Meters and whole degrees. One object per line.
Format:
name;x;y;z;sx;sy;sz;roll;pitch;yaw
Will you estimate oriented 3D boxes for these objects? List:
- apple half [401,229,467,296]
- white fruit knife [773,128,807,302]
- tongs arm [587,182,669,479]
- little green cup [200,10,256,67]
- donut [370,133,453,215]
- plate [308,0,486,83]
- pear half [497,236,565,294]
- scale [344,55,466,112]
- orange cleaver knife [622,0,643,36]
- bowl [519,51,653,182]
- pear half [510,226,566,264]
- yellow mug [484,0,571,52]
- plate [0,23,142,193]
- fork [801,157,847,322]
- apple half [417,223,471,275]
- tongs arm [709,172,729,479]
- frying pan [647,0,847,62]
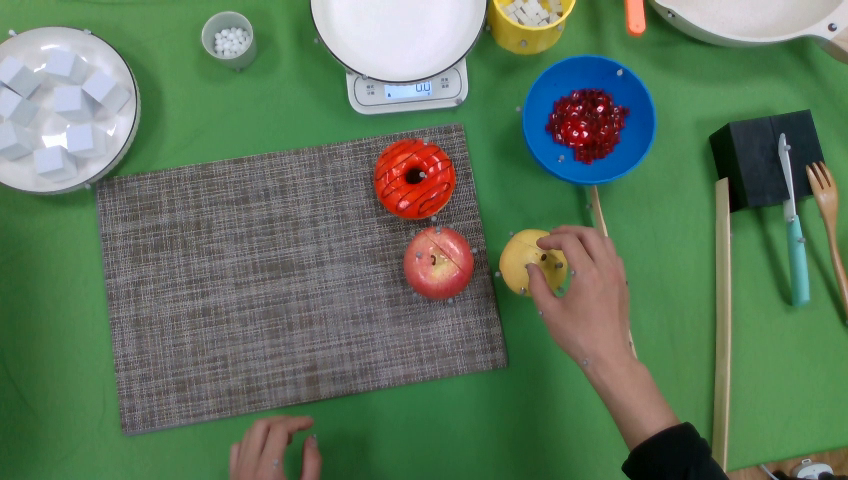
apple half;0.004;0.033;0.687;0.081;0.075;0.053;44;87;2
white fruit knife;0.422;-0.026;0.702;0.016;0.027;0.208;-12;97;-3
tongs arm;0.253;0.116;0.704;0.051;0.026;0.383;-10;84;-7
little green cup;-0.237;-0.244;0.740;0.061;0.039;0.061;0;82;0
donut;-0.015;-0.078;0.715;0.099;0.048;0.099;0;83;1
plate;-0.031;-0.283;0.719;0.209;0.038;0.208;0;82;-1
pear half;0.118;0.031;0.674;0.076;0.110;0.056;22;82;6
scale;-0.029;-0.263;0.750;0.149;0.031;0.200;-6;83;-1
orange cleaver knife;0.253;-0.344;0.711;0.077;0.012;0.210;-5;83;1
bowl;0.181;-0.134;0.713;0.151;0.077;0.151;0;83;-1
pear half;0.133;0.001;0.688;0.070;0.088;0.031;21;83;5
yellow mug;0.115;-0.302;0.740;0.100;0.064;0.130;-42;84;-5
plate;-0.439;-0.155;0.725;0.208;0.039;0.207;0;82;-1
fork;0.477;0.004;0.707;0.028;0.018;0.208;-19;99;-6
apple half;0.030;0.004;0.689;0.081;0.081;0.033;44;87;5
tongs arm;0.339;0.110;0.711;0.028;0.028;0.386;6;83;-9
frying pan;0.446;-0.294;0.725;0.307;0.103;0.485;-37;76;-4
